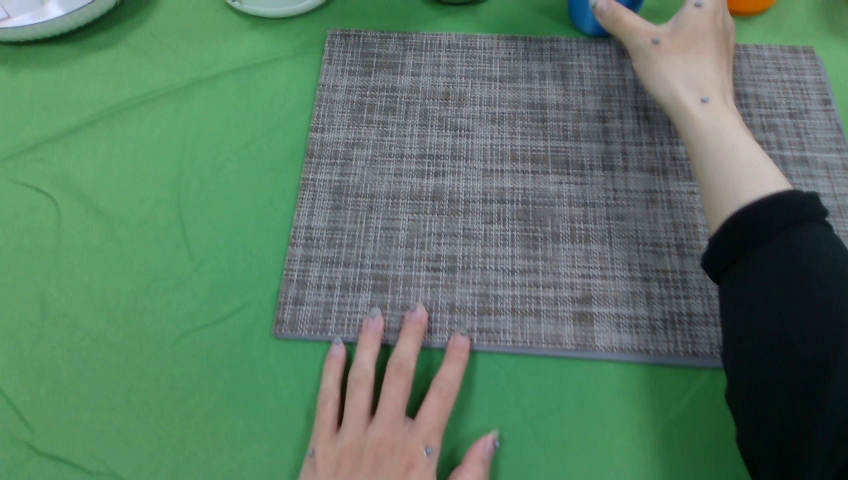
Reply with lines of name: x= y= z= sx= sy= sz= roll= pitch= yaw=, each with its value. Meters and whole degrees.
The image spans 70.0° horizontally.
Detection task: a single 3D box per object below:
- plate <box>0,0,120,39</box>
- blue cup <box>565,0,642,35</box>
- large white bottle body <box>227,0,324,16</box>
plate: x=-0.373 y=-0.269 z=0.592 sx=0.208 sy=0.039 sz=0.206 roll=0 pitch=62 yaw=1
blue cup: x=0.164 y=-0.240 z=0.537 sx=0.092 sy=0.101 sz=0.092 roll=-1 pitch=62 yaw=2
large white bottle body: x=-0.145 y=-0.310 z=0.528 sx=0.130 sy=0.186 sz=0.129 roll=0 pitch=62 yaw=1
